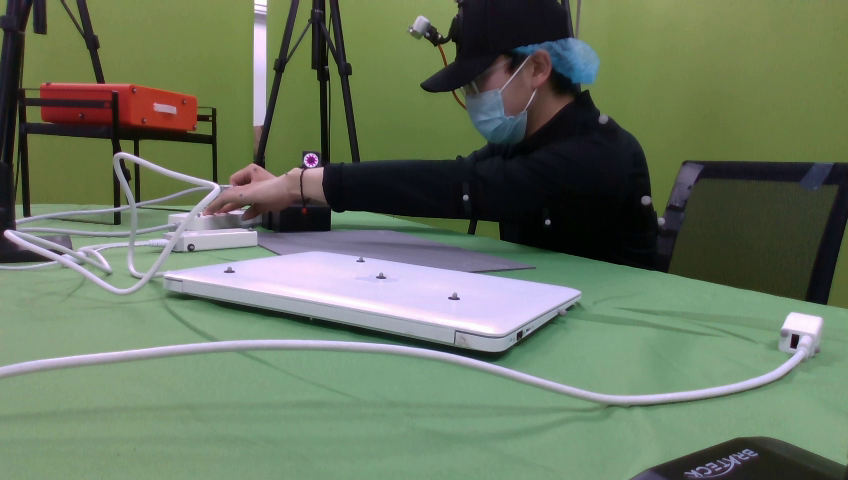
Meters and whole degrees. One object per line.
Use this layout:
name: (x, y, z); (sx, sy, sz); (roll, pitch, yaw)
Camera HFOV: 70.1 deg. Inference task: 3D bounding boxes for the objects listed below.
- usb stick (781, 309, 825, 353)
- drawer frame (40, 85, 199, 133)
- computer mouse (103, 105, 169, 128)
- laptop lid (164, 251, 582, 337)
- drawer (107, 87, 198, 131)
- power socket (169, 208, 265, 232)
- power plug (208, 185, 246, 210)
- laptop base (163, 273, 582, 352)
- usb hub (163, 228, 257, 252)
usb stick: (0.312, 0.072, 0.496); (0.027, 0.021, 0.059); (7, 15, 34)
drawer frame: (-0.612, -0.266, 1.235); (0.213, 0.082, 0.202); (4, 8, 15)
computer mouse: (-0.581, -0.249, 1.223); (0.118, 0.041, 0.062); (2, 3, -39)
laptop lid: (-0.044, 0.040, 0.598); (0.355, 0.013, 0.243); (7, 7, 30)
drawer: (-0.609, -0.264, 1.235); (0.211, 0.073, 0.195); (4, 8, 15)
power socket: (-0.379, -0.038, 1.128); (0.072, 0.032, 0.227); (4, 8, 17)
power plug: (-0.387, -0.083, 1.200); (0.072, 0.052, 0.035); (2, 10, 24)
laptop base: (-0.046, 0.052, 0.598); (0.353, 0.023, 0.236); (7, 6, 28)
usb hub: (-0.313, 0.000, 0.894); (0.049, 0.025, 0.126); (9, 10, 41)
